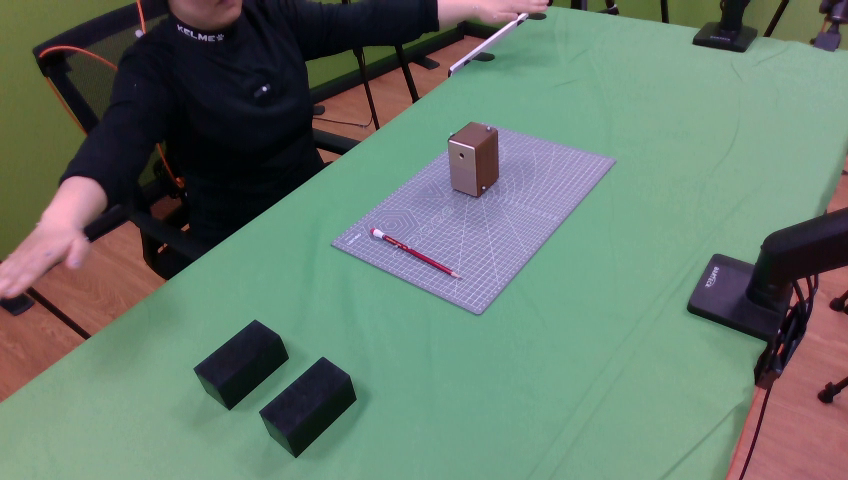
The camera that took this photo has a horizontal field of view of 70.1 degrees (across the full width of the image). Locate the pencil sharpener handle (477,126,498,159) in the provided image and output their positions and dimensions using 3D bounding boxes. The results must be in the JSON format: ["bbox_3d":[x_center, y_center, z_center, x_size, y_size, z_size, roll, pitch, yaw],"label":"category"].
[{"bbox_3d":[0.119,-0.178,1.073,0.035,0.068,0.031,22,48,31],"label":"pencil sharpener handle"}]

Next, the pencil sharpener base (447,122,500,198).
[{"bbox_3d":[0.089,-0.140,1.051,0.061,0.107,0.077,22,48,31],"label":"pencil sharpener base"}]

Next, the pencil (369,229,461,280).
[{"bbox_3d":[-0.016,0.022,0.952,0.192,0.012,0.012,27,51,33],"label":"pencil"}]
